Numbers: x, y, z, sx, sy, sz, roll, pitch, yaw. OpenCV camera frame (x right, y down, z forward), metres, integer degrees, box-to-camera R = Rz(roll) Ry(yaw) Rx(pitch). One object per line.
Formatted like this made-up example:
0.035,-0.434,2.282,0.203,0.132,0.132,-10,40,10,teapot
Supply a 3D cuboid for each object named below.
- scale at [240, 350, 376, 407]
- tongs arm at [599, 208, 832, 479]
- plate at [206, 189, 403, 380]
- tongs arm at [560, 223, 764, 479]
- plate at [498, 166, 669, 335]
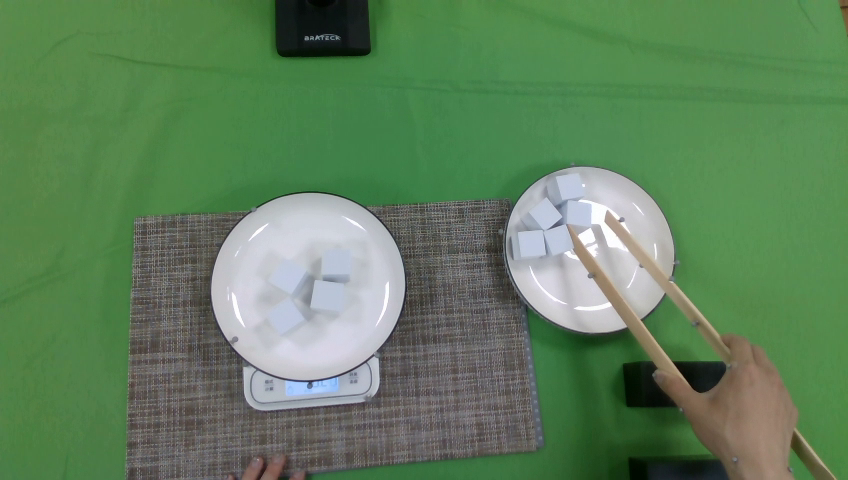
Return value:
-0.133,0.084,0.688,0.149,0.031,0.200,-3,77,-6,scale
0.283,0.112,0.632,0.051,0.027,0.380,-23,57,-16,tongs arm
-0.127,0.047,0.664,0.209,0.038,0.208,1,76,-5,plate
0.252,0.123,0.624,0.028,0.028,0.383,-20,56,-18,tongs arm
0.190,0.013,0.735,0.208,0.039,0.206,1,76,-5,plate
